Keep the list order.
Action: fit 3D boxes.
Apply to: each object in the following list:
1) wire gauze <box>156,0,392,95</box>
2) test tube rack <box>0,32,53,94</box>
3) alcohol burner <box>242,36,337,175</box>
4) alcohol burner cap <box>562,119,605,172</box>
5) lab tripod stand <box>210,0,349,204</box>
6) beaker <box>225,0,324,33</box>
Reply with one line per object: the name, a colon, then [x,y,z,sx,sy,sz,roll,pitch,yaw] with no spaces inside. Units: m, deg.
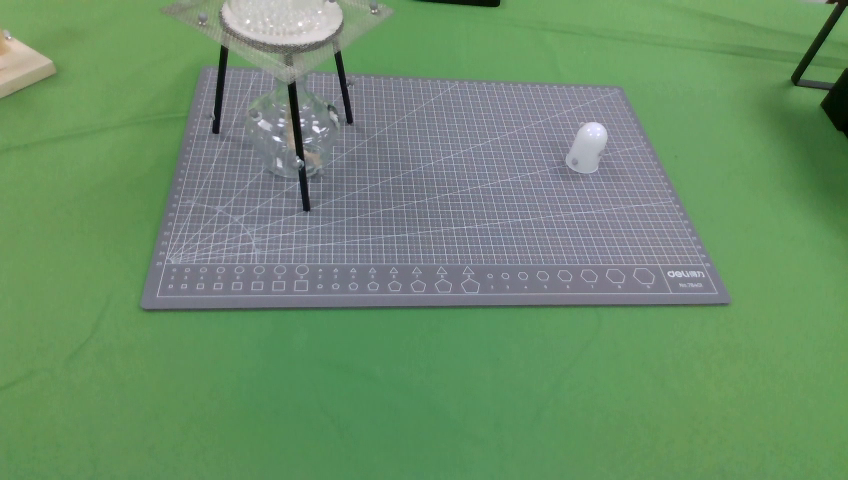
wire gauze: [-0.106,-0.166,0.442,0.124,0.011,0.121,33,55,13]
test tube rack: [-0.441,-0.136,0.483,0.066,0.086,0.241,30,51,17]
alcohol burner: [-0.109,-0.112,0.495,0.078,0.120,0.077,6,48,-6]
alcohol burner cap: [0.152,-0.091,0.569,0.034,0.048,0.033,4,48,-4]
lab tripod stand: [-0.111,-0.124,0.491,0.149,0.132,0.147,6,49,-7]
beaker: [-0.104,-0.199,0.405,0.073,0.101,0.084,31,53,17]
